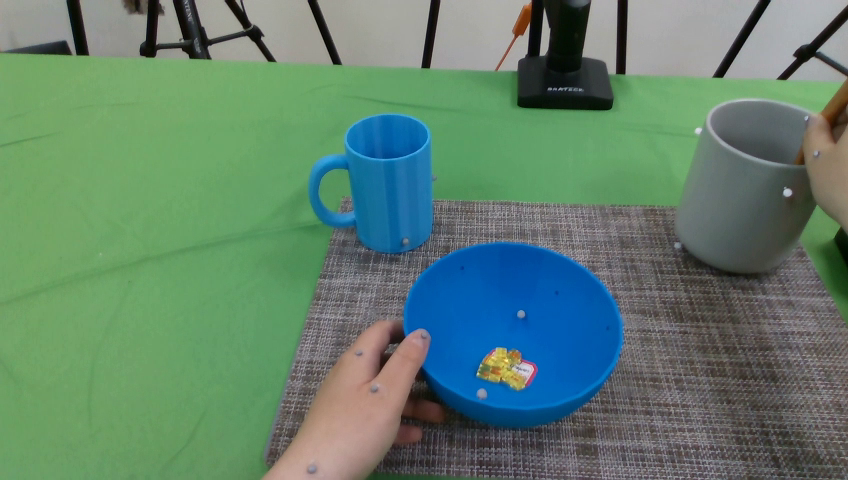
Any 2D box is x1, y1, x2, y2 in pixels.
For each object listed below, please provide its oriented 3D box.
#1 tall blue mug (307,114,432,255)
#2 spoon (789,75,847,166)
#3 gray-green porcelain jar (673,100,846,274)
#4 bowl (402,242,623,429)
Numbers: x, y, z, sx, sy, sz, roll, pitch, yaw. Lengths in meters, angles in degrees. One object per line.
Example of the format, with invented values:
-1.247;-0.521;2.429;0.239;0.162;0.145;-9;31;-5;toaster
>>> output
-0.043;-0.044;0.555;0.107;0.109;0.077;-30;50;-27;tall blue mug
0.307;-0.071;0.483;0.021;0.195;0.041;4;52;7;spoon
0.284;-0.042;0.531;0.106;0.127;0.105;-1;42;1;gray-green porcelain jar
0.060;0.080;0.440;0.151;0.077;0.150;-1;42;1;bowl
